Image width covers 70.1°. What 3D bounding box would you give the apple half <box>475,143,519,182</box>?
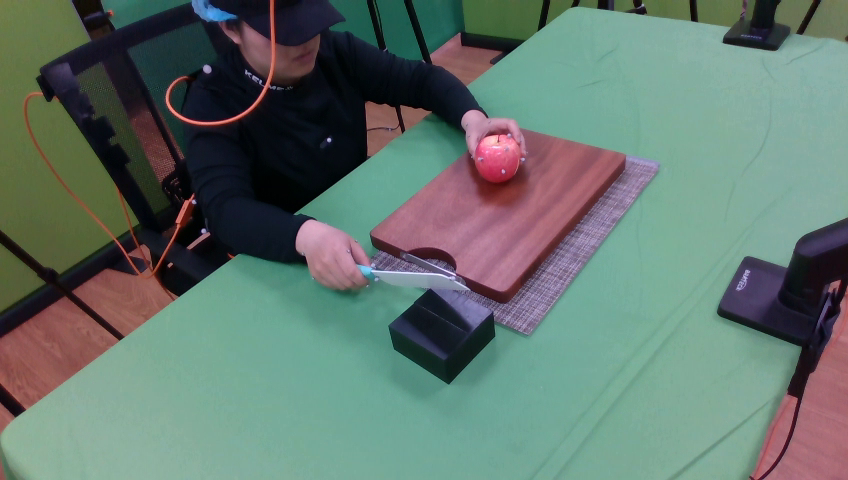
[{"bbox_3d":[0.122,-0.126,1.025,0.081,0.081,0.033,5,38,17],"label":"apple half"}]

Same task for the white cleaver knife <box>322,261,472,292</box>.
[{"bbox_3d":[-0.051,0.057,0.864,0.284,0.066,0.021,3,64,46],"label":"white cleaver knife"}]

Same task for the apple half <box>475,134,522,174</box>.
[{"bbox_3d":[0.134,-0.149,1.053,0.080,0.075,0.053,2,36,20],"label":"apple half"}]
